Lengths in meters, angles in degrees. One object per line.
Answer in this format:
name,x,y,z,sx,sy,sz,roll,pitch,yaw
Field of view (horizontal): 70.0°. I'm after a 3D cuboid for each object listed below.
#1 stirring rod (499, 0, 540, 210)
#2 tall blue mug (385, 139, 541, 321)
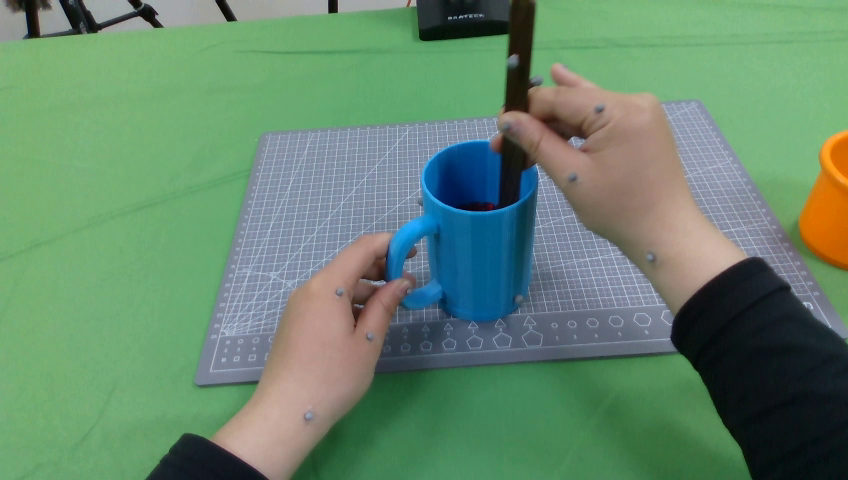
stirring rod,0.054,-0.057,0.363,0.014,0.178,0.006,8,44,11
tall blue mug,0.031,0.005,0.417,0.077,0.109,0.107,20,50,22
